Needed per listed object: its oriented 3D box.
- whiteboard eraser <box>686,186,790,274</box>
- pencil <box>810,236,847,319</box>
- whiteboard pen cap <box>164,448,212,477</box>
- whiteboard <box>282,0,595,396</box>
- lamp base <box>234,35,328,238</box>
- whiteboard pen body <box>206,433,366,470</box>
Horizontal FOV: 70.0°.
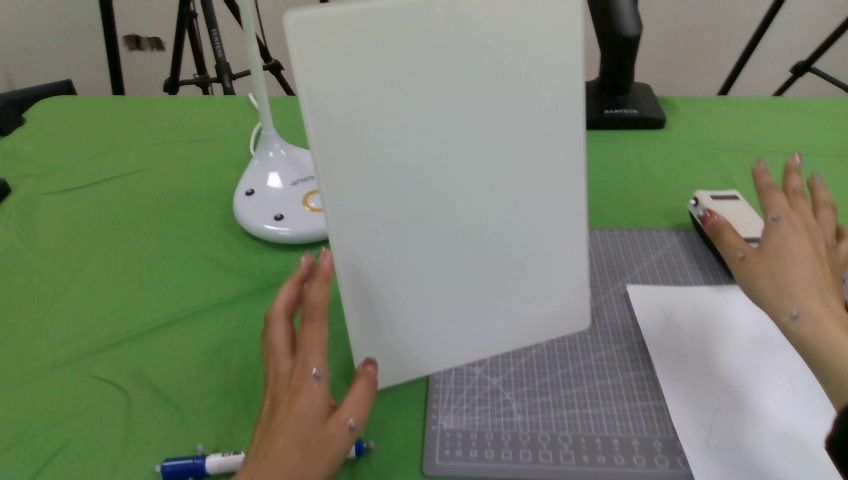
[{"bbox_3d":[0.317,-0.011,0.619,0.055,0.042,0.111,-4,41,-3],"label":"whiteboard eraser"},{"bbox_3d":[0.389,0.063,0.556,0.012,0.012,0.192,5,43,8],"label":"pencil"},{"bbox_3d":[-0.174,0.166,0.452,0.033,0.018,0.018,-6,41,-4],"label":"whiteboard pen cap"},{"bbox_3d":[0.014,-0.057,0.529,0.217,0.307,0.142,-13,23,-12],"label":"whiteboard"},{"bbox_3d":[-0.149,-0.120,0.659,0.160,0.182,0.177,-34,47,-32],"label":"lamp base"},{"bbox_3d":[-0.114,0.161,0.458,0.141,0.017,0.017,-5,41,-4],"label":"whiteboard pen body"}]
